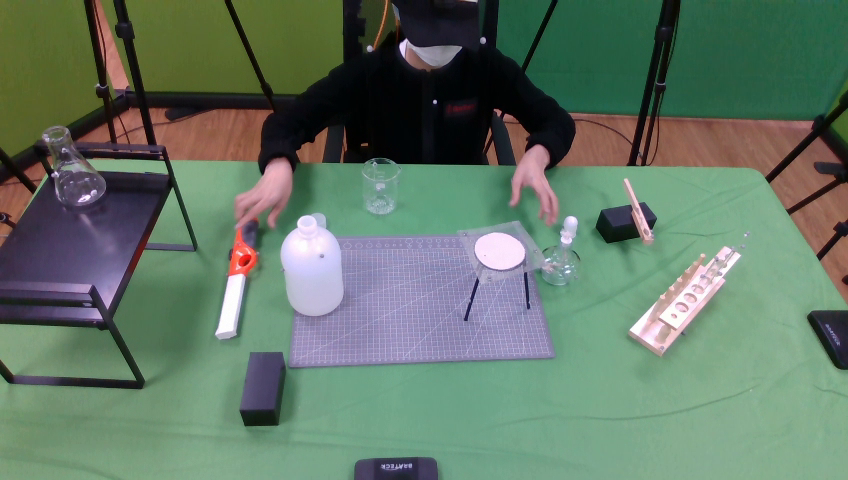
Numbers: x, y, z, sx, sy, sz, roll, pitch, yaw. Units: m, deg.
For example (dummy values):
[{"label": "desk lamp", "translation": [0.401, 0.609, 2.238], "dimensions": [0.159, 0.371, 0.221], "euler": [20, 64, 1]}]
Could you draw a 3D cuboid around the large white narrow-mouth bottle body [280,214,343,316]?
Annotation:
[{"label": "large white narrow-mouth bottle body", "translation": [-0.190, 0.035, 1.025], "dimensions": [0.102, 0.195, 0.101], "euler": [2, 46, -2]}]

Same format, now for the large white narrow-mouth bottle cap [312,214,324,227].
[{"label": "large white narrow-mouth bottle cap", "translation": [-0.219, -0.033, 1.214], "dimensions": [0.038, 0.024, 0.037], "euler": [2, 46, -2]}]

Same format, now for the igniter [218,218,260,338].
[{"label": "igniter", "translation": [-0.337, 0.060, 1.111], "dimensions": [0.057, 0.025, 0.274], "euler": [-10, 46, 6]}]

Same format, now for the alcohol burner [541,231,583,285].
[{"label": "alcohol burner", "translation": [0.258, 0.028, 1.123], "dimensions": [0.078, 0.120, 0.077], "euler": [1, 47, -1]}]

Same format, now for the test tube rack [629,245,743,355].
[{"label": "test tube rack", "translation": [0.474, 0.095, 1.091], "dimensions": [0.242, 0.085, 0.066], "euler": [-34, 56, -31]}]

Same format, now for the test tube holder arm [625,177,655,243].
[{"label": "test tube holder arm", "translation": [0.433, -0.063, 1.220], "dimensions": [0.013, 0.015, 0.177], "euler": [1, 47, -3]}]

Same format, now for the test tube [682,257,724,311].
[{"label": "test tube", "translation": [0.475, 0.080, 1.037], "dimensions": [0.017, 0.151, 0.017], "euler": [2, 51, -2]}]

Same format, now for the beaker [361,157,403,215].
[{"label": "beaker", "translation": [-0.086, -0.108, 1.241], "dimensions": [0.084, 0.101, 0.073], "euler": [-8, 48, -13]}]

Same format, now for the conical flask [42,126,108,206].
[{"label": "conical flask", "translation": [-0.555, -0.119, 0.953], "dimensions": [0.075, 0.122, 0.075], "euler": [2, 46, -2]}]

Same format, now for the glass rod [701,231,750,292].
[{"label": "glass rod", "translation": [0.519, 0.045, 1.050], "dimensions": [0.008, 0.201, 0.008], "euler": [0, 55, 0]}]

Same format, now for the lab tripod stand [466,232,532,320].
[{"label": "lab tripod stand", "translation": [0.125, 0.059, 1.065], "dimensions": [0.148, 0.132, 0.147], "euler": [1, 45, 0]}]

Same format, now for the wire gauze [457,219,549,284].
[{"label": "wire gauze", "translation": [0.131, 0.014, 1.015], "dimensions": [0.121, 0.011, 0.124], "euler": [-12, 47, -14]}]

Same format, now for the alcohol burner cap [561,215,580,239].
[{"label": "alcohol burner cap", "translation": [0.299, -0.030, 1.230], "dimensions": [0.034, 0.048, 0.033], "euler": [1, 46, 0]}]

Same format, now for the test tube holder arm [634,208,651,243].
[{"label": "test tube holder arm", "translation": [0.428, -0.030, 1.189], "dimensions": [0.010, 0.015, 0.087], "euler": [1, 47, -2]}]
